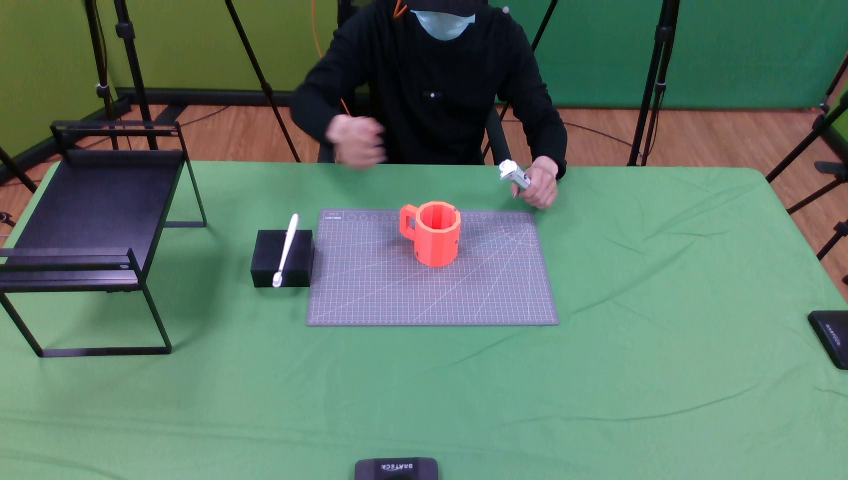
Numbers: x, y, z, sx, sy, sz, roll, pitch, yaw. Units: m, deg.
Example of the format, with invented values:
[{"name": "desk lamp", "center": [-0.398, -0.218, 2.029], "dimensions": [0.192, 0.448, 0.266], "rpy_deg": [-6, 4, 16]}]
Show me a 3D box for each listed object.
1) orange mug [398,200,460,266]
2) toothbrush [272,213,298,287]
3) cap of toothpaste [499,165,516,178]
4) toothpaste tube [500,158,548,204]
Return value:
[{"name": "orange mug", "center": [0.007, -0.020, 1.161], "dimensions": [0.126, 0.101, 0.083], "rpy_deg": [27, 50, 15]}, {"name": "toothbrush", "center": [-0.252, 0.013, 1.103], "dimensions": [0.014, 0.017, 0.181], "rpy_deg": [2, 46, 2]}, {"name": "cap of toothpaste", "center": [0.157, -0.130, 1.149], "dimensions": [0.037, 0.037, 0.011], "rpy_deg": [-25, 85, -25]}, {"name": "toothpaste tube", "center": [0.201, -0.119, 1.226], "dimensions": [0.034, 0.166, 0.054], "rpy_deg": [-48, 49, 9]}]
